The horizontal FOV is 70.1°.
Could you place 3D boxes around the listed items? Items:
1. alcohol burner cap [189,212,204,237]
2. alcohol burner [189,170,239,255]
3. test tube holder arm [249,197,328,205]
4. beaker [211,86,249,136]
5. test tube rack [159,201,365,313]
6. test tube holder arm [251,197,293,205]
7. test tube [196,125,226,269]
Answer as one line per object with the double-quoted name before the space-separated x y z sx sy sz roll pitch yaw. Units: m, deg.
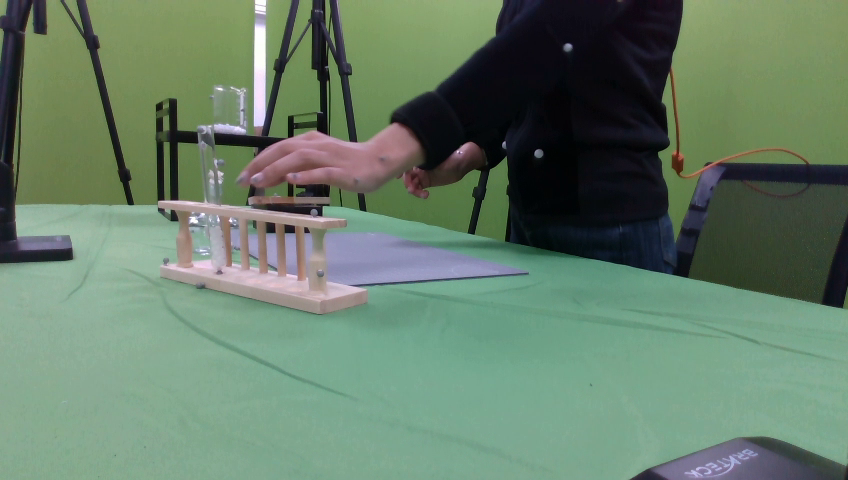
"alcohol burner cap" -0.389 -0.029 1.025 0.034 0.048 0.034 2 8 0
"alcohol burner" -0.298 -0.039 0.852 0.078 0.119 0.078 3 6 0
"test tube holder arm" -0.253 -0.075 1.147 0.013 0.015 0.179 5 6 38
"beaker" -0.413 -0.274 1.297 0.074 0.100 0.083 -5 11 -44
"test tube rack" -0.173 0.009 0.625 0.241 0.085 0.067 7 9 34
"test tube holder arm" -0.277 -0.072 1.108 0.010 0.015 0.088 6 7 39
"test tube" -0.220 -0.043 0.626 0.017 0.150 0.017 -2 10 1
